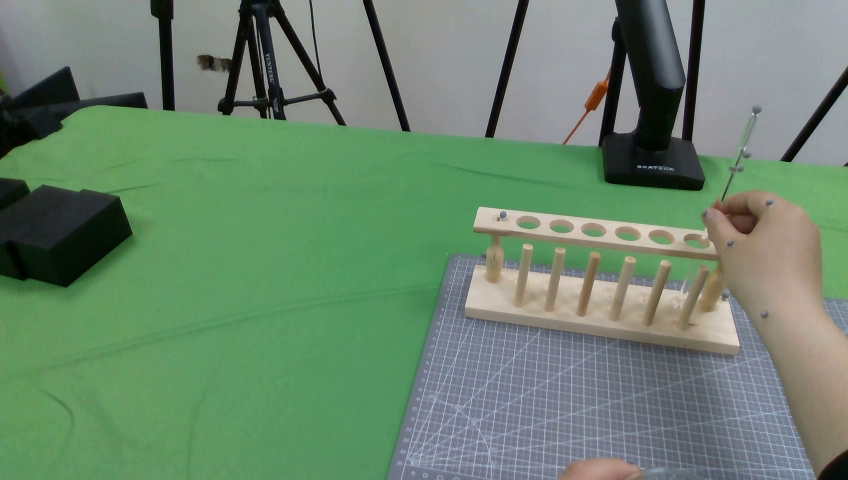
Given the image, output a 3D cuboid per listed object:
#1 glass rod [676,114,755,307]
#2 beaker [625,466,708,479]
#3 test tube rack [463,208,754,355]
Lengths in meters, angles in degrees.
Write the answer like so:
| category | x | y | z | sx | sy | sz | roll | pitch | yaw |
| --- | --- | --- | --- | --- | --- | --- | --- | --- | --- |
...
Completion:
| category | x | y | z | sx | sy | sz | roll | pitch | yaw |
| --- | --- | --- | --- | --- | --- | --- | --- | --- | --- |
| glass rod | 0.242 | -0.015 | 0.510 | 0.008 | 0.201 | 0.008 | 0 | 39 | 0 |
| beaker | 0.121 | 0.182 | 0.320 | 0.084 | 0.101 | 0.073 | -3 | 35 | -6 |
| test tube rack | 0.161 | 0.036 | 0.555 | 0.242 | 0.086 | 0.066 | 7 | 38 | 9 |
